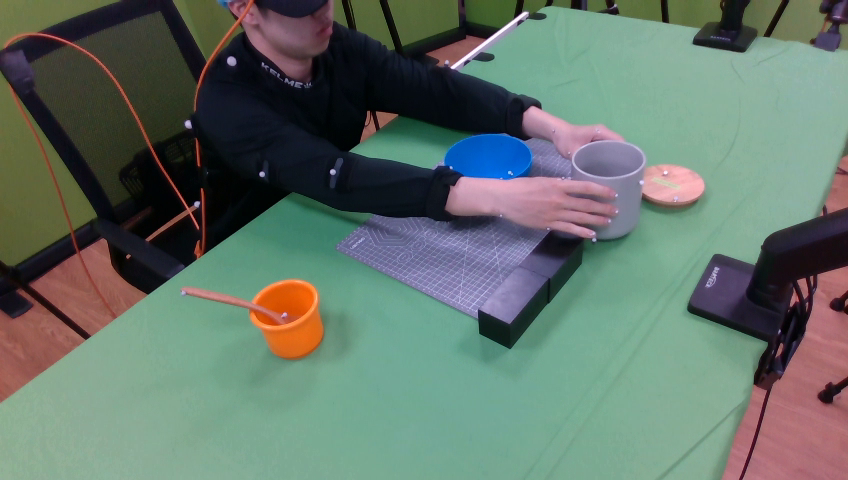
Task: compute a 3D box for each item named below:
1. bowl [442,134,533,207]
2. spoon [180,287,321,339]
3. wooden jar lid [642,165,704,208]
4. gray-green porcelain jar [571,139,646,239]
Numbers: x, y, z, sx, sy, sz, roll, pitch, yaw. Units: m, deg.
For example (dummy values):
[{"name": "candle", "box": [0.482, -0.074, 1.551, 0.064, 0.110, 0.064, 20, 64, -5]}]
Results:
[{"name": "bowl", "box": [0.110, -0.109, 1.033, 0.151, 0.077, 0.150, -4, 40, 4]}, {"name": "spoon", "box": [-0.223, 0.093, 0.796, 0.021, 0.195, 0.041, -46, 36, 24]}, {"name": "wooden jar lid", "box": [0.410, -0.089, 1.014, 0.108, 0.021, 0.108, -5, 42, 5]}, {"name": "gray-green porcelain jar", "box": [0.280, -0.073, 0.928, 0.106, 0.127, 0.105, -6, 40, 5]}]
